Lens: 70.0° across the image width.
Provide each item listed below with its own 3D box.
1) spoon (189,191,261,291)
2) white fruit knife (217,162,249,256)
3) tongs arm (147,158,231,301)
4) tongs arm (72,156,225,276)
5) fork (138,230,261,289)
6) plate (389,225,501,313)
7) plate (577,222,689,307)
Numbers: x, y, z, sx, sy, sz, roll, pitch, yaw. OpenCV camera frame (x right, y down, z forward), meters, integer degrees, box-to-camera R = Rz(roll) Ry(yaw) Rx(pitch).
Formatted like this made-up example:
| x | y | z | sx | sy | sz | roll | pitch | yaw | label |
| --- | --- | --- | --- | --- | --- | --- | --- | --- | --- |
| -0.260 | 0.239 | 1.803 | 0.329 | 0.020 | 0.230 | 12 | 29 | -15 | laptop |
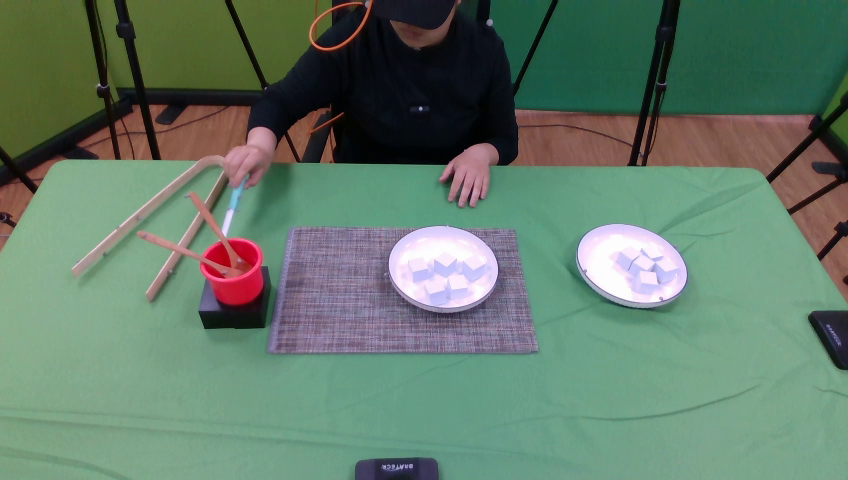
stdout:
| x | y | z | sx | sy | sz | roll | pitch | yaw | label |
| --- | --- | --- | --- | --- | --- | --- | --- | --- | --- |
| -0.333 | 0.001 | 1.012 | 0.041 | 0.194 | 0.021 | -34 | 15 | -25 | spoon |
| -0.366 | -0.063 | 1.159 | 0.027 | 0.016 | 0.206 | -14 | 58 | 38 | white fruit knife |
| -0.454 | -0.034 | 1.194 | 0.028 | 0.028 | 0.385 | 7 | 46 | 6 | tongs arm |
| -0.531 | -0.057 | 1.205 | 0.050 | 0.026 | 0.383 | 19 | 47 | 12 | tongs arm |
| -0.360 | 0.032 | 0.981 | 0.208 | 0.018 | 0.028 | 31 | 60 | -30 | fork |
| 0.038 | 0.057 | 1.129 | 0.208 | 0.039 | 0.206 | 2 | 46 | -2 | plate |
| 0.396 | 0.050 | 1.165 | 0.209 | 0.038 | 0.208 | 2 | 47 | -2 | plate |
